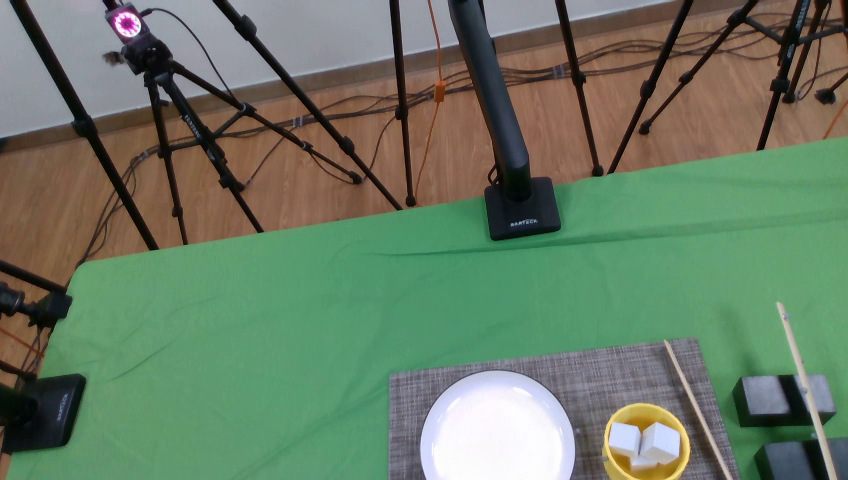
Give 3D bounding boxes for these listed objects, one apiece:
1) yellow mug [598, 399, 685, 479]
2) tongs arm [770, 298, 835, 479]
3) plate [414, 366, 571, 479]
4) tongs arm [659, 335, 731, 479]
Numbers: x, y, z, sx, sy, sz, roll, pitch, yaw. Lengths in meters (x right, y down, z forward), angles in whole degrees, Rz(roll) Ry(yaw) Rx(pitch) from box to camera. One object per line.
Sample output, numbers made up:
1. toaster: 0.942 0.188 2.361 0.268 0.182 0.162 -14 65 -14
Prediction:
1. yellow mug: 0.264 0.271 0.758 0.099 0.064 0.130 20 63 24
2. tongs arm: 0.444 0.251 0.704 0.050 0.027 0.381 -21 56 30
3. plate: 0.092 0.274 0.816 0.207 0.039 0.205 -6 55 9
4. tongs arm: 0.380 0.284 0.743 0.028 0.028 0.383 -31 51 19
